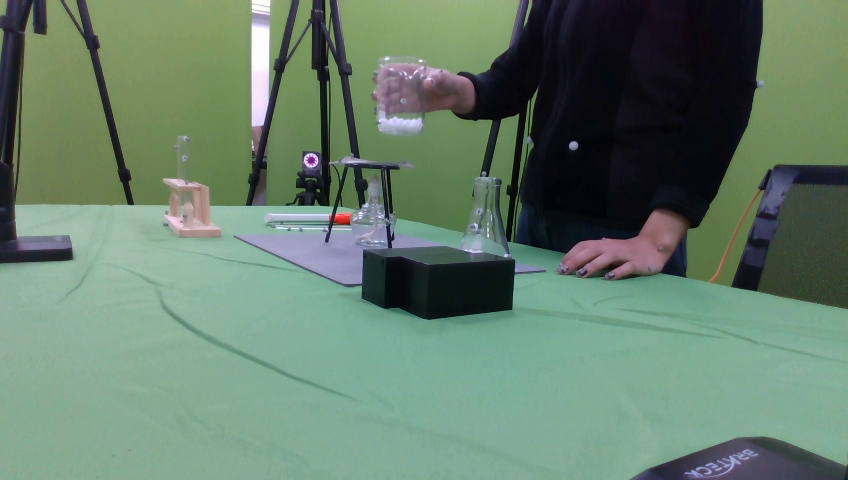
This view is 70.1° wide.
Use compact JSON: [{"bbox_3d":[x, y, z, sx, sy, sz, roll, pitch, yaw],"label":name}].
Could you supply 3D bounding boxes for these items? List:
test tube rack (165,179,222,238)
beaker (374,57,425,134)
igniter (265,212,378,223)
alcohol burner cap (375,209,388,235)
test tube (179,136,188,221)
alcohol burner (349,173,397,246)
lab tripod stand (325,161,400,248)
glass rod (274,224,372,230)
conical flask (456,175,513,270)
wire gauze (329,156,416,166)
[{"bbox_3d":[-0.422,-0.062,1.098,0.067,0.085,0.241,-2,9,-28],"label":"test tube rack"},{"bbox_3d":[-0.035,-0.207,0.880,0.074,0.100,0.084,2,3,15],"label":"beaker"},{"bbox_3d":[-0.196,-0.048,1.285,0.278,0.025,0.057,-2,-3,-30],"label":"igniter"},{"bbox_3d":[-0.076,-0.035,1.145,0.034,0.048,0.034,2,7,0],"label":"alcohol burner cap"},{"bbox_3d":[-0.425,-0.108,1.070,0.017,0.150,0.017,4,9,0],"label":"test tube"},{"bbox_3d":[-0.081,-0.050,0.982,0.078,0.119,0.078,4,8,0],"label":"alcohol burner"},{"bbox_3d":[-0.083,-0.060,0.977,0.148,0.131,0.148,4,8,0],"label":"lab tripod stand"},{"bbox_3d":[-0.193,-0.024,1.176,0.201,0.008,0.008,1,7,-31],"label":"glass rod"},{"bbox_3d":[0.083,-0.025,0.801,0.075,0.122,0.075,2,7,0],"label":"conical flask"},{"bbox_3d":[-0.079,-0.126,0.972,0.121,0.011,0.125,4,8,5],"label":"wire gauze"}]
